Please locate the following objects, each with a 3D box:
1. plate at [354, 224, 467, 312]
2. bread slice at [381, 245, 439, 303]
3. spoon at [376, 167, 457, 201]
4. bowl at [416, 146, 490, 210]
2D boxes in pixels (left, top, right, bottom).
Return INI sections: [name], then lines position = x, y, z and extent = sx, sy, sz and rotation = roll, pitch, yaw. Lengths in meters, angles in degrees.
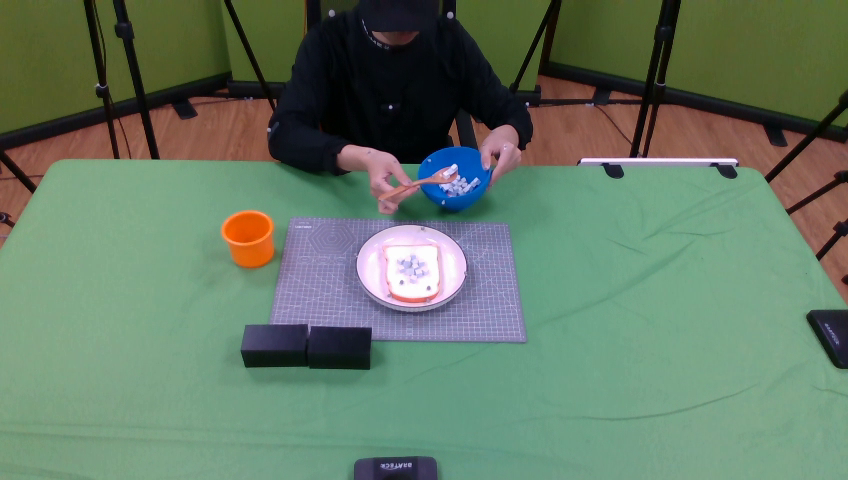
[plate]
position = -0.025, 0.055, 1.128
extent = 0.209, 0.038, 0.208
rotation = 3, 46, -2
[bread slice]
position = -0.022, 0.061, 1.126
extent = 0.107, 0.018, 0.133
rotation = -3, 45, -8
[spoon]
position = -0.013, -0.108, 1.165
extent = 0.194, 0.022, 0.041
rotation = -20, 51, -36
[bowl]
position = 0.063, -0.115, 1.242
extent = 0.151, 0.077, 0.150
rotation = -5, 50, 7
